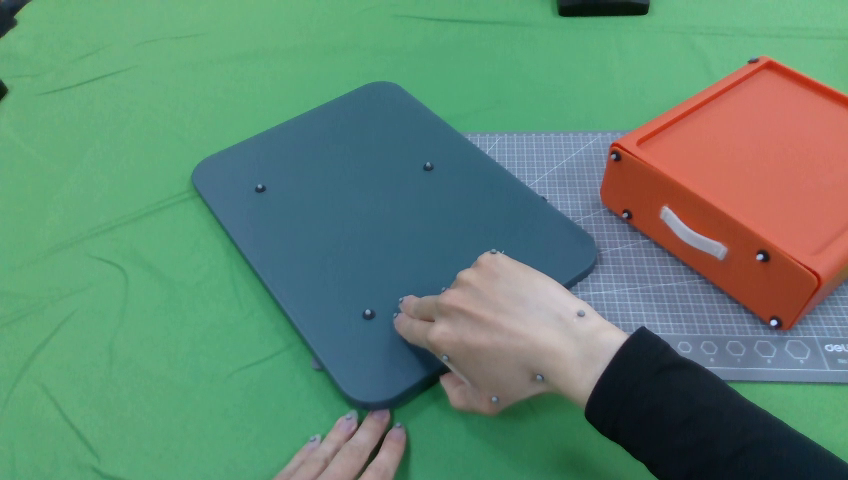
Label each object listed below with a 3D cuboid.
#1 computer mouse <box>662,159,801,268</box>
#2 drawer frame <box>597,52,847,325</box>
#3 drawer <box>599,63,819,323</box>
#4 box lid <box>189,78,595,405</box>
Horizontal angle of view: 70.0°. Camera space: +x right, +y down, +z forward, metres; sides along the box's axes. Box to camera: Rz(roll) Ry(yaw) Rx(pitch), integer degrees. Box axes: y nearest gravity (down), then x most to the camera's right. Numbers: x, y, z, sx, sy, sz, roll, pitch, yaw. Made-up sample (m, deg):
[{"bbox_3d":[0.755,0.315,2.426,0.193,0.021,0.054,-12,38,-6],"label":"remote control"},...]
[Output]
[{"bbox_3d":[0.272,-0.029,0.535,0.063,0.041,0.116,-29,60,-24],"label":"computer mouse"},{"bbox_3d":[0.303,-0.060,0.539,0.213,0.083,0.199,-31,54,-22],"label":"drawer frame"},{"bbox_3d":[0.301,-0.056,0.539,0.212,0.074,0.192,-30,53,-22],"label":"drawer"},{"bbox_3d":[-0.046,-0.033,0.590,0.263,0.015,0.367,-31,53,-21],"label":"box lid"}]
